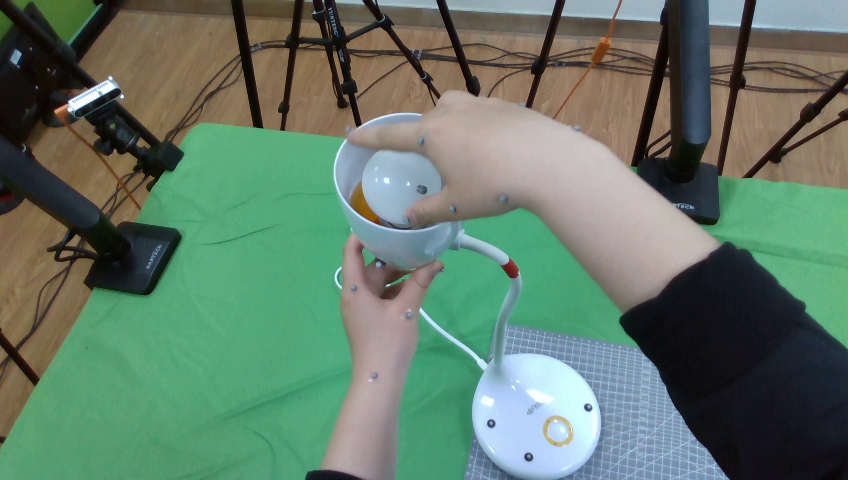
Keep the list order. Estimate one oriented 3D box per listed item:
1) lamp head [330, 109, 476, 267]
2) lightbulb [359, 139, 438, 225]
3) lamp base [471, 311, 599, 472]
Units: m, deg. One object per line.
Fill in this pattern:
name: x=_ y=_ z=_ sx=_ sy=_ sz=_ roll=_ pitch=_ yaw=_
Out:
lamp head: x=-0.012 y=-0.029 z=0.504 sx=0.112 sy=0.124 sz=0.111 roll=-2 pitch=60 yaw=4
lightbulb: x=-0.018 y=-0.037 z=0.479 sx=0.059 sy=0.108 sz=0.059 roll=-1 pitch=69 yaw=3
lamp base: x=0.121 y=0.163 z=0.709 sx=0.177 sy=0.182 sz=0.160 roll=32 pitch=65 yaw=28
